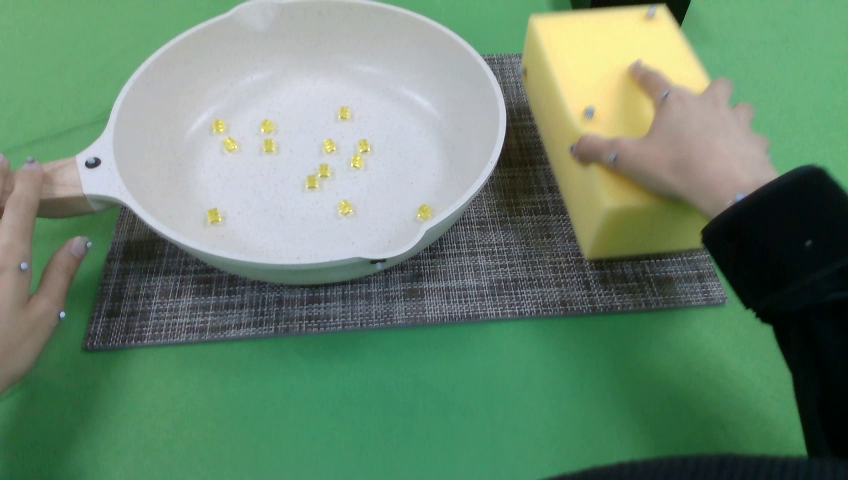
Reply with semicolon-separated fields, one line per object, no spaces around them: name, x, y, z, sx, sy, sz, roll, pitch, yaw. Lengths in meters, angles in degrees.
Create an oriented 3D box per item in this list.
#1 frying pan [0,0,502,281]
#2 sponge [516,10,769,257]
frying pan;-0.180;-0.059;0.437;0.489;0.103;0.303;-15;54;-23
sponge;0.155;-0.091;0.474;0.118;0.061;0.204;-7;54;-6
